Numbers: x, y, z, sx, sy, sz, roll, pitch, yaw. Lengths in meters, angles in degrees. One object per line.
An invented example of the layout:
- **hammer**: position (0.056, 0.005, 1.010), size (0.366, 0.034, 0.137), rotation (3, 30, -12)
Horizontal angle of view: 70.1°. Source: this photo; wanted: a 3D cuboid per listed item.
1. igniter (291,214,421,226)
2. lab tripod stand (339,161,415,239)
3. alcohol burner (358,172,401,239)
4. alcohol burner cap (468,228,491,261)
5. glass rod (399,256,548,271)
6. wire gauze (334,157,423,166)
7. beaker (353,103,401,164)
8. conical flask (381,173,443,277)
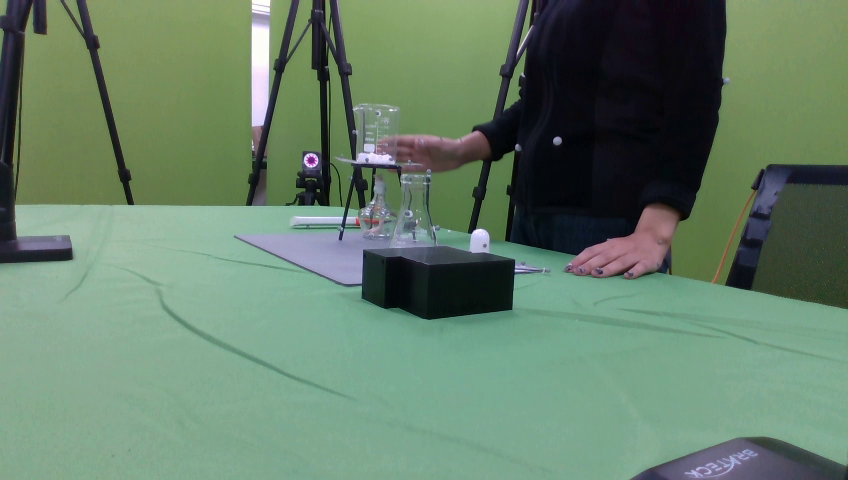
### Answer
- **igniter**: position (-0.135, -0.041, 1.250), size (0.278, 0.025, 0.057), rotation (-1, -3, -28)
- **lab tripod stand**: position (-0.082, -0.070, 1.059), size (0.148, 0.131, 0.148), rotation (4, 6, 0)
- **alcohol burner**: position (-0.078, -0.061, 1.065), size (0.078, 0.119, 0.078), rotation (4, 9, 0)
- **alcohol burner cap**: position (0.082, 0.006, 0.878), size (0.034, 0.048, 0.034), rotation (3, 6, 0)
- **glass rod**: position (0.064, 0.030, 0.806), size (0.199, 0.008, 0.008), rotation (4, 7, 10)
- **wire gauze**: position (-0.081, -0.135, 1.051), size (0.122, 0.011, 0.124), rotation (2, 5, -30)
- **beaker**: position (-0.084, -0.183, 1.046), size (0.084, 0.100, 0.074), rotation (4, 6, 3)
- **conical flask**: position (-0.012, -0.020, 0.731), size (0.075, 0.122, 0.075), rotation (2, 7, 0)
